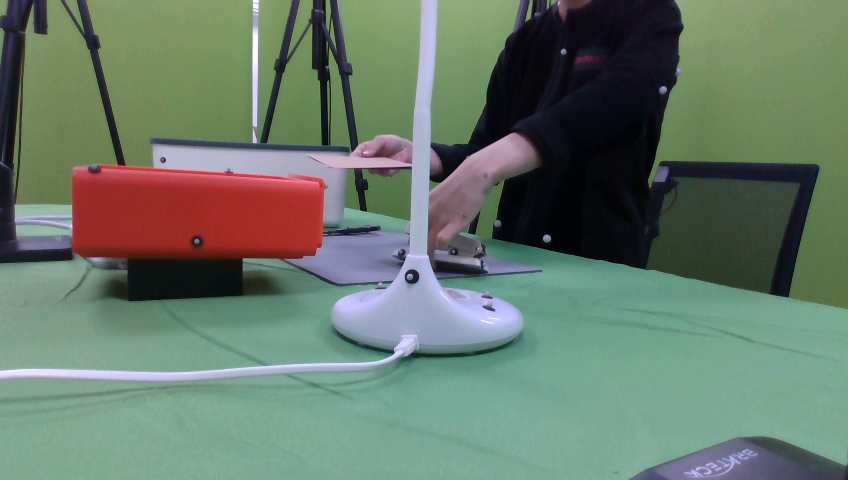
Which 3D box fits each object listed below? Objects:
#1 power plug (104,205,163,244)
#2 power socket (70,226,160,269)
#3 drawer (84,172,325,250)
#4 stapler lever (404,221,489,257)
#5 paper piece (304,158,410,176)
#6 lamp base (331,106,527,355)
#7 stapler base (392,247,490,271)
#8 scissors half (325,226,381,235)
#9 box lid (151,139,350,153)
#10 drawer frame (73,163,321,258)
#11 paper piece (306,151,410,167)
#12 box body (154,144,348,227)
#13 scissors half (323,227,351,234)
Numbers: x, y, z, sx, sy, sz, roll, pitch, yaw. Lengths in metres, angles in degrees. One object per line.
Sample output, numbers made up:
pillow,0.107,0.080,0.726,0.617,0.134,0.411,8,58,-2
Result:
power plug,-0.390,-0.021,0.815,0.073,0.052,0.035,-1,7,-27
power socket,-0.409,0.004,0.793,0.072,0.032,0.225,-2,8,-38
drawer,-0.227,-0.036,0.638,0.213,0.073,0.193,-1,9,-23
stapler lever,0.028,-0.004,0.787,0.117,0.040,0.027,7,-5,28
paper piece,-0.104,-0.112,0.917,0.136,0.004,0.135,2,14,-21
lamp base,0.006,-0.012,0.478,0.161,0.180,0.179,2,10,2
stapler base,0.022,0.020,0.784,0.130,0.024,0.041,8,-5,28
scissors half,-0.153,-0.015,1.079,0.176,0.013,0.040,-7,1,-33
box lid,-0.352,-0.191,1.256,0.373,0.015,0.262,0,8,-18
drawer frame,-0.232,-0.034,0.635,0.214,0.082,0.201,1,8,-23
paper piece,-0.095,-0.120,0.911,0.139,0.008,0.135,-2,18,-28
box body,-0.357,-0.119,1.264,0.365,0.160,0.253,0,7,-18
scissors half,-0.166,-0.014,1.094,0.040,0.013,0.176,1,5,40
